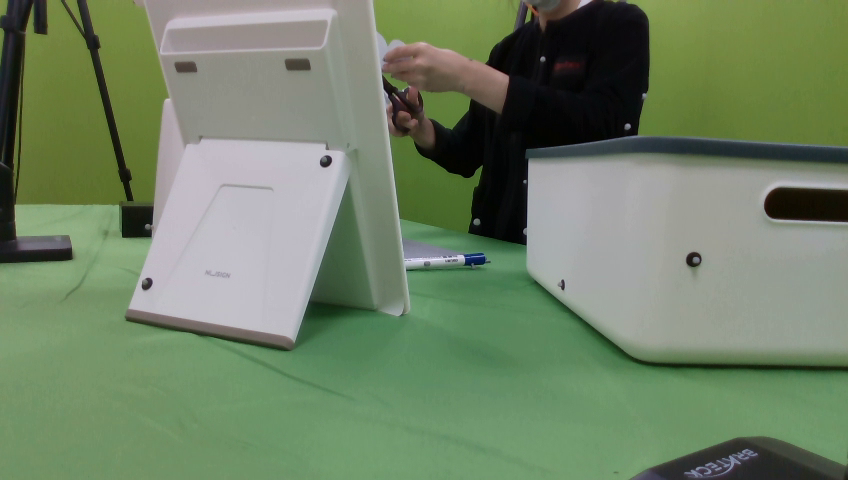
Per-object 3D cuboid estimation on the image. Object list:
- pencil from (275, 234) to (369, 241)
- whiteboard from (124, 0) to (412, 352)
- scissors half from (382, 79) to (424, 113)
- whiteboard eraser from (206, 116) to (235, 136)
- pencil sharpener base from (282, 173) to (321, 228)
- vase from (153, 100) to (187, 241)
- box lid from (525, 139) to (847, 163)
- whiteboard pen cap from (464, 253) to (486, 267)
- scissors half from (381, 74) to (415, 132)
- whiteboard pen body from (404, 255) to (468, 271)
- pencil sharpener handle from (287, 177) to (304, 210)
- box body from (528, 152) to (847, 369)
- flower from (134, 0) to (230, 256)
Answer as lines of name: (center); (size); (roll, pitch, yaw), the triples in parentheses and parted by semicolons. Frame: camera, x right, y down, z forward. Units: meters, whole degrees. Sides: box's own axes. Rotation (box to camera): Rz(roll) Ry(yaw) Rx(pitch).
pencil: (-0.169, -0.006, 1.036); (0.195, 0.012, 0.012); (-2, 8, -45)
whiteboard: (-0.151, -0.049, 0.472); (0.216, 0.305, 0.144); (6, 27, 24)
scissors half: (-0.052, -0.268, 1.056); (0.013, 0.040, 0.176); (15, -2, 37)
whiteboard eraser: (-0.450, -0.252, 1.335); (0.056, 0.042, 0.112); (1, 7, -22)
pencil sharpener base: (-0.247, -0.080, 1.212); (0.061, 0.107, 0.076); (-2, 5, -28)
vase: (-0.278, -0.066, 0.736); (0.098, 0.200, 0.098); (2, 9, 0)
box lid: (0.261, -0.078, 0.580); (0.264, 0.015, 0.371); (2, 7, -4)
whiteboard pen cap: (0.066, 0.027, 0.818); (0.033, 0.018, 0.018); (-5, 10, -24)
scissors half: (-0.062, -0.249, 1.052); (0.012, 0.040, 0.176); (21, -22, 38)
whiteboard pen body: (0.013, 0.030, 0.792); (0.141, 0.017, 0.017); (-3, 9, -24)
pencil sharpener handle: (-0.269, -0.096, 1.257); (0.036, 0.067, 0.030); (-8, 8, -27)
box body: (0.257, -0.005, 0.591); (0.254, 0.160, 0.363); (2, 7, -4)
flower: (-0.282, -0.147, 0.713); (0.038, 0.362, 0.044); (-23, 24, -31)
